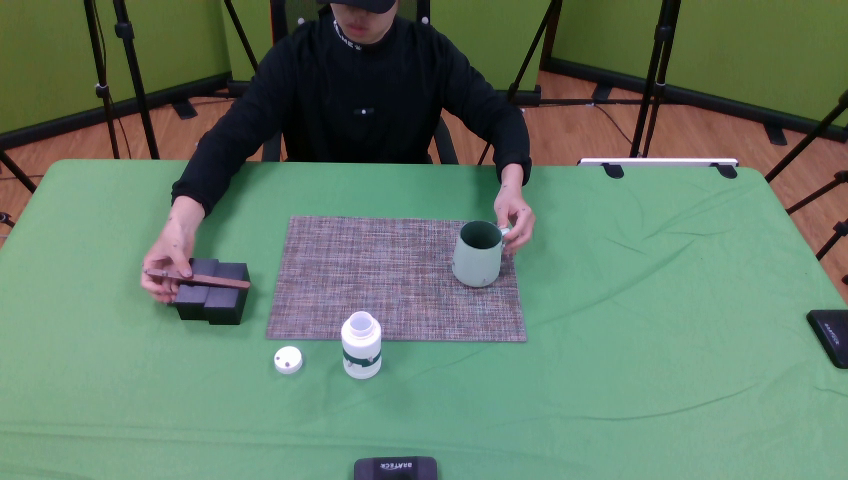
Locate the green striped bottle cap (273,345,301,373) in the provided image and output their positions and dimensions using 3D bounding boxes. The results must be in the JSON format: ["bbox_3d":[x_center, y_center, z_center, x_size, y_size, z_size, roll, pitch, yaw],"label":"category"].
[{"bbox_3d":[-0.225,0.195,0.997,0.044,0.020,0.044,2,50,-3],"label":"green striped bottle cap"}]

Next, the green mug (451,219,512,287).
[{"bbox_3d":[0.112,0.019,1.125,0.125,0.105,0.092,-24,52,-25],"label":"green mug"}]

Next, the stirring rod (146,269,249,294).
[{"bbox_3d":[-0.388,0.071,1.040,0.176,0.006,0.014,11,25,-1],"label":"stirring rod"}]

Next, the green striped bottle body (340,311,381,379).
[{"bbox_3d":[-0.101,0.165,0.964,0.063,0.120,0.063,2,46,-2],"label":"green striped bottle body"}]
